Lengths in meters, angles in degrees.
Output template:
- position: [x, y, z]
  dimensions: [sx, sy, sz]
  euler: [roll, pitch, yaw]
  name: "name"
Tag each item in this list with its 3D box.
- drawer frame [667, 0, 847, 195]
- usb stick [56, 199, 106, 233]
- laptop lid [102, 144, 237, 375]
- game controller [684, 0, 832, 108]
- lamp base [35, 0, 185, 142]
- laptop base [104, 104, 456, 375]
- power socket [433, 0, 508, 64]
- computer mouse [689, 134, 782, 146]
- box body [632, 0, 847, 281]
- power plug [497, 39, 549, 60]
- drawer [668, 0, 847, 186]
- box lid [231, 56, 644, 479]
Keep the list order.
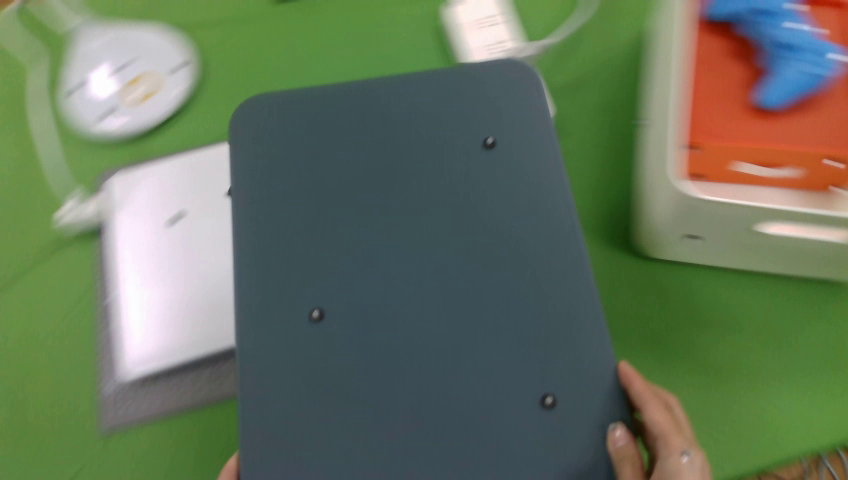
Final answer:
- position: [0.360, -0.166, 0.673]
  dimensions: [0.201, 0.083, 0.212]
  euler: [5, 62, 3]
  name: "drawer frame"
- position: [-0.372, -0.028, 0.673]
  dimensions: [0.059, 0.027, 0.021]
  euler: [-13, 62, -6]
  name: "usb stick"
- position: [-0.165, -0.014, 0.660]
  dimensions: [0.357, 0.013, 0.239]
  euler: [-15, 69, -4]
  name: "laptop lid"
- position: [0.357, -0.219, 0.642]
  dimensions: [0.097, 0.052, 0.154]
  euler: [-17, 67, -9]
  name: "game controller"
- position: [-0.393, -0.229, 0.689]
  dimensions: [0.178, 0.182, 0.160]
  euler: [31, 71, 18]
  name: "lamp base"
- position: [-0.165, -0.011, 0.671]
  dimensions: [0.354, 0.023, 0.233]
  euler: [-17, 70, -5]
  name: "laptop base"
- position: [0.074, -0.212, 0.742]
  dimensions: [0.072, 0.033, 0.224]
  euler: [-16, 66, -6]
  name: "power socket"
- position: [0.355, -0.136, 0.671]
  dimensions: [0.117, 0.041, 0.062]
  euler: [11, 74, 11]
  name: "computer mouse"
- position: [0.359, -0.152, 0.632]
  dimensions: [0.254, 0.161, 0.361]
  euler: [7, 67, 5]
  name: "box body"
- position: [0.111, -0.202, 0.711]
  dimensions: [0.072, 0.053, 0.035]
  euler: [-7, 65, -2]
  name: "power plug"
- position: [0.364, -0.168, 0.673]
  dimensions: [0.194, 0.074, 0.210]
  euler: [4, 67, 5]
  name: "drawer"
- position: [-0.008, 0.028, 0.446]
  dimensions: [0.263, 0.015, 0.368]
  euler: [-8, 69, -1]
  name: "box lid"
